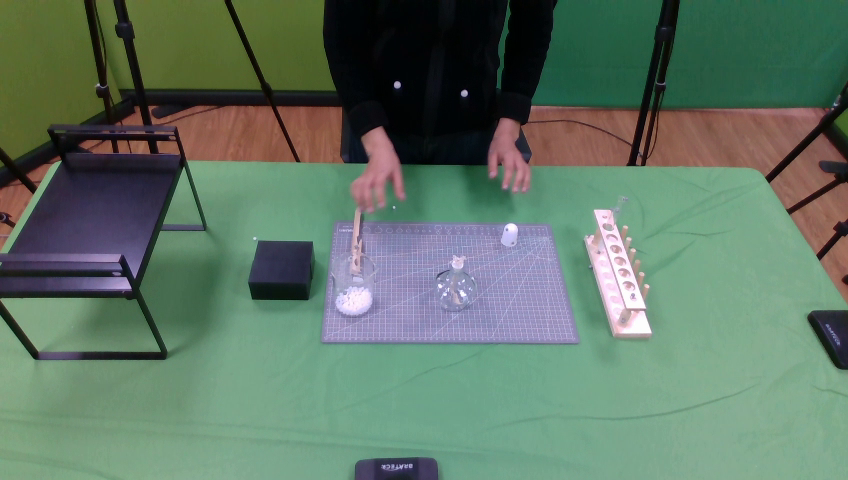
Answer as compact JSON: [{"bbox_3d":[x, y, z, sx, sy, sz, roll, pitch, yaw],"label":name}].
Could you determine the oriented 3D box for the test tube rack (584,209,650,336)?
[{"bbox_3d":[0.365,0.056,1.129,0.067,0.085,0.240,1,46,-3],"label":"test tube rack"}]

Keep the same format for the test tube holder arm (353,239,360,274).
[{"bbox_3d":[-0.130,0.030,1.159,0.010,0.015,0.087,24,38,-25],"label":"test tube holder arm"}]

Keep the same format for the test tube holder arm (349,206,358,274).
[{"bbox_3d":[-0.137,-0.004,1.189,0.013,0.015,0.177,23,39,-26],"label":"test tube holder arm"}]

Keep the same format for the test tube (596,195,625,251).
[{"bbox_3d":[0.349,-0.028,1.141,0.017,0.151,0.017,1,51,-2],"label":"test tube"}]

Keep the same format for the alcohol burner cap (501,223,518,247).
[{"bbox_3d":[0.172,-0.013,1.206,0.034,0.048,0.033,1,45,-1],"label":"alcohol burner cap"}]

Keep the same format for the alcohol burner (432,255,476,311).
[{"bbox_3d":[0.055,0.070,1.068,0.078,0.119,0.077,3,45,-3],"label":"alcohol burner"}]

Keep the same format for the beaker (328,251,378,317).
[{"bbox_3d":[-0.123,0.079,1.055,0.084,0.101,0.073,0,47,-5],"label":"beaker"}]
